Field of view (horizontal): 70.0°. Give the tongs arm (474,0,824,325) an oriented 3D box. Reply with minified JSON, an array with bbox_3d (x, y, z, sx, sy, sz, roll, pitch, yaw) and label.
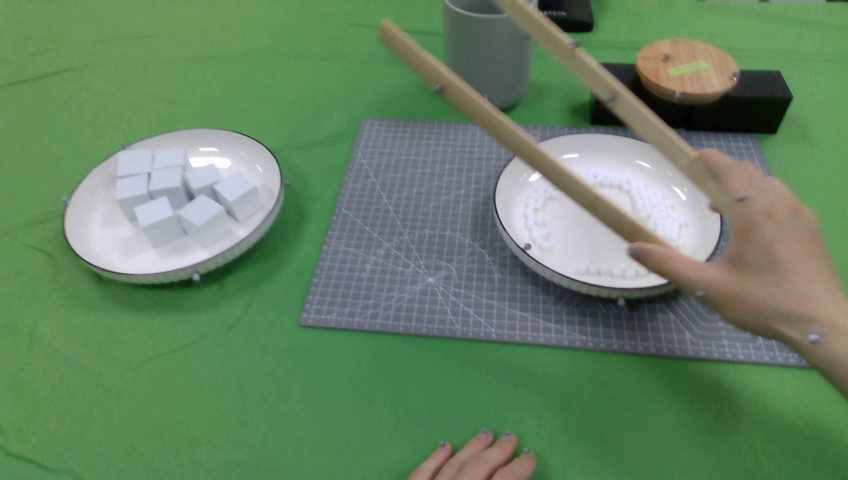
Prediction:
[{"bbox_3d":[0.149,-0.084,0.471,0.383,0.026,0.050,44,66,11],"label":"tongs arm"}]

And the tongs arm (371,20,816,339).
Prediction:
[{"bbox_3d":[0.110,-0.049,0.450,0.386,0.028,0.028,38,61,9],"label":"tongs arm"}]

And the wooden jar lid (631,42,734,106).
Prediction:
[{"bbox_3d":[0.282,-0.183,0.668,0.108,0.021,0.107,-1,49,1],"label":"wooden jar lid"}]

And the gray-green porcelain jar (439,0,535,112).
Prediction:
[{"bbox_3d":[0.071,-0.222,0.707,0.106,0.127,0.105,-1,47,2],"label":"gray-green porcelain jar"}]

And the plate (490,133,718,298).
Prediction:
[{"bbox_3d":[0.167,-0.025,0.580,0.209,0.038,0.207,-1,48,2],"label":"plate"}]

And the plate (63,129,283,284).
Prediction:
[{"bbox_3d":[-0.243,-0.034,0.608,0.207,0.039,0.205,-1,48,1],"label":"plate"}]
